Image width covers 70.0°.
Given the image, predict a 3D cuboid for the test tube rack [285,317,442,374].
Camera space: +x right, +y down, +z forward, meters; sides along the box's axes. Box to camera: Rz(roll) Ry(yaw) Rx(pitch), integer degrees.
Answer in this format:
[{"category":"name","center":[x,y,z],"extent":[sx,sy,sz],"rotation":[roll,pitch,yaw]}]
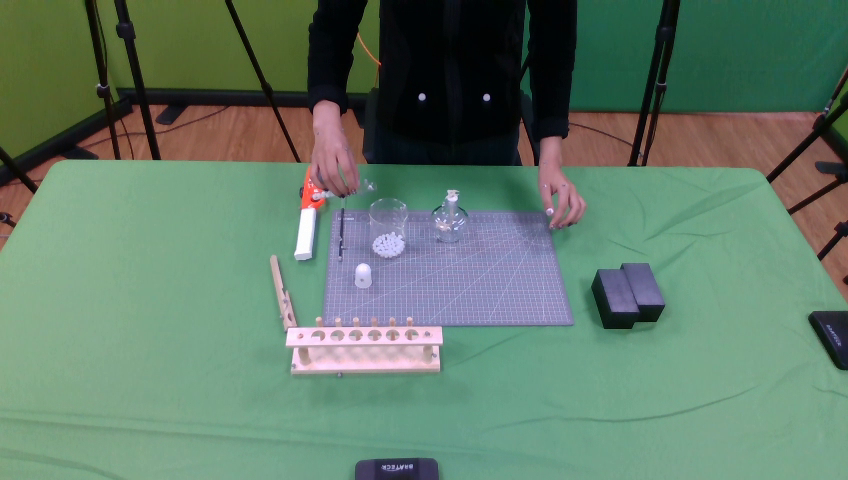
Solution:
[{"category":"test tube rack","center":[-0.095,0.166,0.988],"extent":[0.242,0.085,0.066],"rotation":[0,46,-4]}]

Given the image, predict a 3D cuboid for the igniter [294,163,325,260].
[{"category":"igniter","center":[-0.234,-0.067,1.243],"extent":[0.057,0.025,0.274],"rotation":[-6,46,4]}]

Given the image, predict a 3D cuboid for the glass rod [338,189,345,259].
[{"category":"glass rod","center":[-0.166,-0.036,1.227],"extent":[0.008,0.008,0.198],"rotation":[0,46,-4]}]

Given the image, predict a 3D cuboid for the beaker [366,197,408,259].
[{"category":"beaker","center":[-0.068,-0.018,1.153],"extent":[0.074,0.101,0.083],"rotation":[-26,54,-25]}]

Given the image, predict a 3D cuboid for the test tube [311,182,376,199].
[{"category":"test tube","center":[-0.151,-0.091,1.123],"extent":[0.150,0.017,0.017],"rotation":[-6,39,32]}]

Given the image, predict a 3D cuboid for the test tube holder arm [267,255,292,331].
[{"category":"test tube holder arm","center":[-0.261,0.091,1.092],"extent":[0.013,0.015,0.177],"rotation":[15,34,-40]}]

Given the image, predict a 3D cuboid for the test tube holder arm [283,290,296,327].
[{"category":"test tube holder arm","center":[-0.241,0.123,1.067],"extent":[0.010,0.015,0.087],"rotation":[16,34,-39]}]

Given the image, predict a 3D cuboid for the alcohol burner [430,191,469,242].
[{"category":"alcohol burner","center":[0.052,-0.053,1.185],"extent":[0.078,0.119,0.077],"rotation":[2,48,-2]}]

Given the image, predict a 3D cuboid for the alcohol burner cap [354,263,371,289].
[{"category":"alcohol burner cap","center":[-0.113,0.063,1.111],"extent":[0.034,0.048,0.033],"rotation":[2,46,-2]}]
